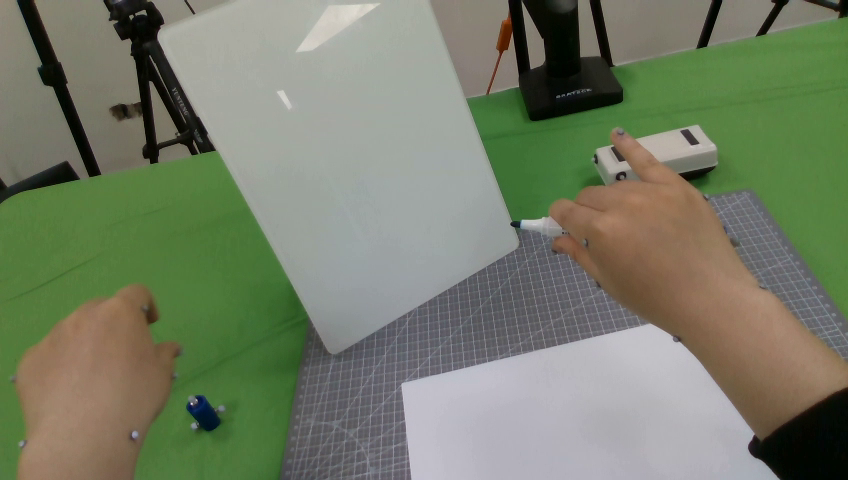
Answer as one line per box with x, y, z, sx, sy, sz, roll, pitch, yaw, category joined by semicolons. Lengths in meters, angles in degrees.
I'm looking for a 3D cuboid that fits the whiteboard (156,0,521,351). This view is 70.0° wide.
-0.075;-0.094;0.584;0.217;0.307;0.142;-29;22;-14;whiteboard

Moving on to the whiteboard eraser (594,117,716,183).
0.240;-0.092;0.635;0.112;0.042;0.055;-12;43;4;whiteboard eraser

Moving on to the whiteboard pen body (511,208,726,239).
0.129;-0.013;0.414;0.140;0.017;0.017;4;44;16;whiteboard pen body

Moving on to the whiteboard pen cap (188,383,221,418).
-0.188;0.139;0.521;0.018;0.033;0.018;-8;41;7;whiteboard pen cap
